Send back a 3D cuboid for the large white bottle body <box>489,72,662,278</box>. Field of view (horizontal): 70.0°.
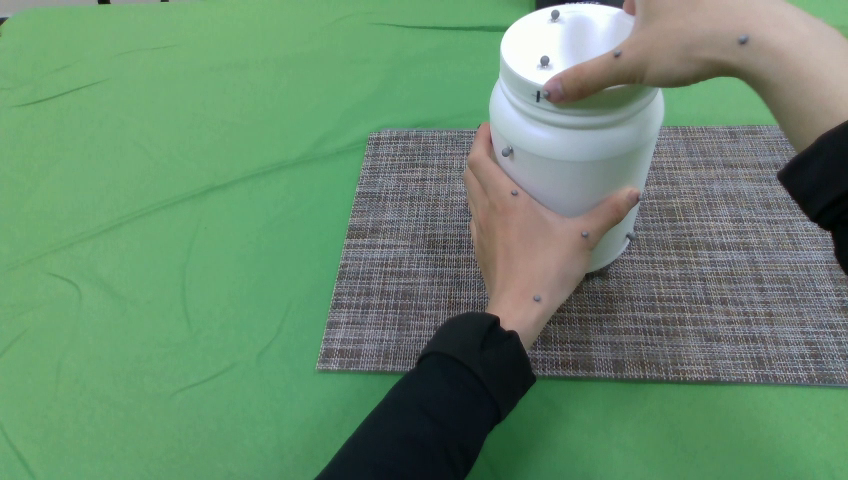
[{"bbox_3d":[0.118,-0.072,0.497,0.130,0.186,0.129,-3,49,4],"label":"large white bottle body"}]

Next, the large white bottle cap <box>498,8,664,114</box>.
[{"bbox_3d":[0.111,-0.130,0.431,0.115,0.018,0.113,-2,48,3],"label":"large white bottle cap"}]
